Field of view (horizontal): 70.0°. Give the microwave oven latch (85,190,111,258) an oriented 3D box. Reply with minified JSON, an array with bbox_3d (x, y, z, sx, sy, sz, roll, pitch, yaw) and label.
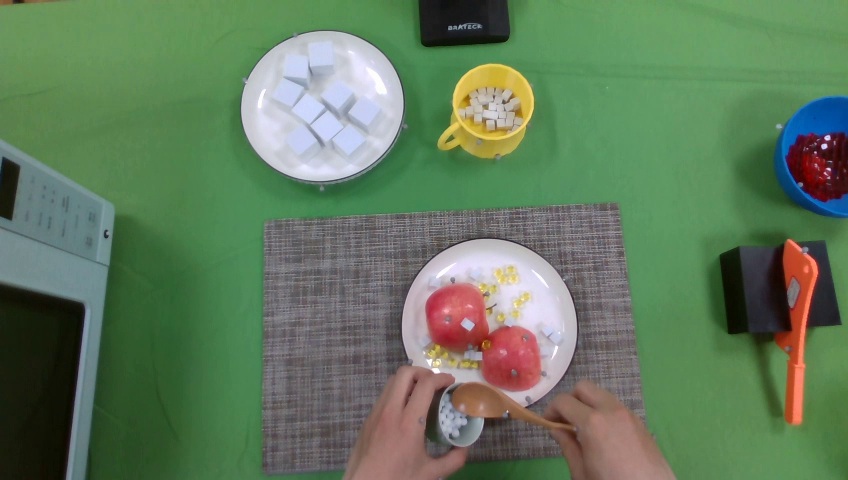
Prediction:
[{"bbox_3d":[-0.397,-0.019,0.727,0.030,0.029,0.079,2,79,0],"label":"microwave oven latch"}]

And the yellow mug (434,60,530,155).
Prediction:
[{"bbox_3d":[0.067,-0.156,0.761,0.131,0.064,0.099,-34,80,-6],"label":"yellow mug"}]

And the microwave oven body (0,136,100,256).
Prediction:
[{"bbox_3d":[-0.547,0.132,0.596,0.326,0.261,0.439,0,79,0],"label":"microwave oven body"}]

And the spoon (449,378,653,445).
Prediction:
[{"bbox_3d":[0.115,0.167,0.575,0.192,0.021,0.042,10,109,26],"label":"spoon"}]

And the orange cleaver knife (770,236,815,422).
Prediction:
[{"bbox_3d":[0.419,0.102,0.699,0.012,0.077,0.212,-2,102,4],"label":"orange cleaver knife"}]

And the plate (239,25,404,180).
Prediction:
[{"bbox_3d":[-0.129,-0.173,0.779,0.208,0.039,0.206,0,78,0],"label":"plate"}]

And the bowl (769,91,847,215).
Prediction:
[{"bbox_3d":[0.488,-0.096,0.743,0.151,0.077,0.150,0,78,0],"label":"bowl"}]

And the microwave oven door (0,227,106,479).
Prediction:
[{"bbox_3d":[-0.401,0.174,0.583,0.039,0.245,0.354,0,78,0],"label":"microwave oven door"}]

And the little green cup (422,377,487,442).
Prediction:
[{"bbox_3d":[0.029,0.172,0.608,0.062,0.038,0.061,20,54,-28],"label":"little green cup"}]

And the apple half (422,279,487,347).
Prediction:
[{"bbox_3d":[0.035,0.084,0.706,0.074,0.053,0.080,-5,79,1],"label":"apple half"}]

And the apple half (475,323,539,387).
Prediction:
[{"bbox_3d":[0.098,0.134,0.705,0.081,0.033,0.081,0,75,2],"label":"apple half"}]

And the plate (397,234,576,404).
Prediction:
[{"bbox_3d":[0.072,0.097,0.719,0.209,0.038,0.208,0,79,0],"label":"plate"}]
